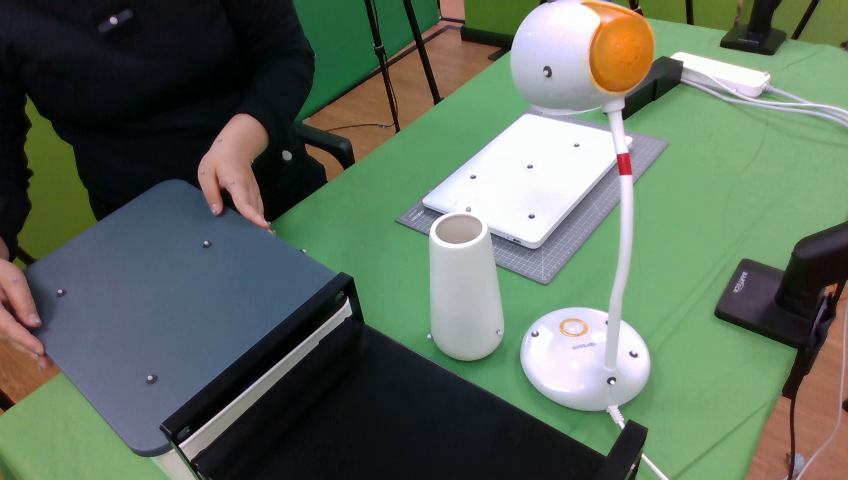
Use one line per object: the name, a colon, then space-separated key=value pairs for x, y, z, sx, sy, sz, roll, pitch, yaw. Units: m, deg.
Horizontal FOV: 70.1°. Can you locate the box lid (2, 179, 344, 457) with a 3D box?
box lid: x=-0.296 y=0.058 z=0.697 sx=0.368 sy=0.015 sz=0.264 roll=27 pitch=55 yaw=32

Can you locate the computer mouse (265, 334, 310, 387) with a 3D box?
computer mouse: x=-0.160 y=0.158 z=0.791 sx=0.116 sy=0.041 sz=0.063 roll=26 pitch=46 yaw=23

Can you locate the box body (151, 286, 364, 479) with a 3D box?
box body: x=-0.282 y=0.128 z=0.759 sx=0.361 sy=0.161 sz=0.255 roll=24 pitch=49 yaw=32

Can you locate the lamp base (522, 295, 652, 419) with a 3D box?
lamp base: x=0.201 y=0.095 z=0.710 sx=0.161 sy=0.181 sz=0.177 roll=-16 pitch=43 yaw=-10

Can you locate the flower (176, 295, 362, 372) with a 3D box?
flower: x=-0.232 y=0.115 z=0.833 sx=0.359 sy=0.038 sz=0.044 roll=11 pitch=86 yaw=33

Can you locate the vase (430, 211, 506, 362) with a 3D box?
vase: x=0.054 y=0.061 z=0.758 sx=0.098 sy=0.201 sz=0.097 roll=-3 pitch=40 yaw=3

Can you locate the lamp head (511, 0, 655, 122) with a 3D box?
lamp head: x=0.155 y=-0.168 z=0.564 sx=0.113 sy=0.113 sz=0.122 roll=-18 pitch=23 yaw=-12

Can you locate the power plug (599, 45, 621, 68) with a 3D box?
power plug: x=0.437 y=-0.422 z=1.412 sx=0.053 sy=0.035 sz=0.072 roll=-19 pitch=75 yaw=-46

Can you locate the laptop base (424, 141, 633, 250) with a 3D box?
laptop base: x=0.193 y=-0.116 z=1.087 sx=0.233 sy=0.023 sz=0.355 roll=21 pitch=48 yaw=34

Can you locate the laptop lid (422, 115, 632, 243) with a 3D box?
laptop lid: x=0.190 y=-0.126 z=1.081 sx=0.239 sy=0.013 sz=0.358 roll=23 pitch=48 yaw=34

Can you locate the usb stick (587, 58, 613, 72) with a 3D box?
usb stick: x=0.401 y=-0.399 z=1.380 sx=0.059 sy=0.027 sz=0.021 roll=1 pitch=48 yaw=20

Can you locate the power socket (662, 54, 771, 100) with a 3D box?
power socket: x=0.615 y=-0.348 z=1.284 sx=0.072 sy=0.033 sz=0.225 roll=-36 pitch=48 yaw=-29
